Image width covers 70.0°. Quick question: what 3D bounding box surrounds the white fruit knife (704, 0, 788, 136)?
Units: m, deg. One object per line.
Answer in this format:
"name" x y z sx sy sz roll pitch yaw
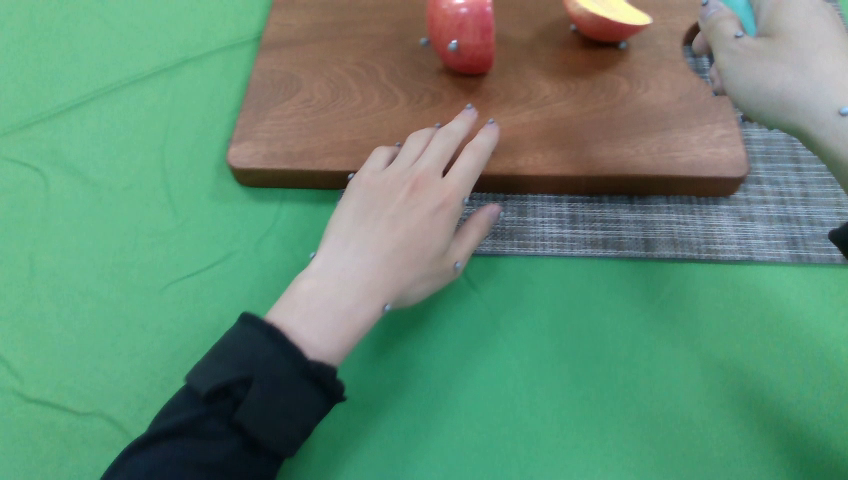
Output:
"white fruit knife" 0.180 -0.163 0.384 0.016 0.027 0.206 -17 78 -9

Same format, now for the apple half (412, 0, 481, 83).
"apple half" 0.017 -0.171 0.496 0.053 0.075 0.080 -7 62 3

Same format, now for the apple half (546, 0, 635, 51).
"apple half" 0.134 -0.181 0.517 0.081 0.033 0.080 12 41 -11
